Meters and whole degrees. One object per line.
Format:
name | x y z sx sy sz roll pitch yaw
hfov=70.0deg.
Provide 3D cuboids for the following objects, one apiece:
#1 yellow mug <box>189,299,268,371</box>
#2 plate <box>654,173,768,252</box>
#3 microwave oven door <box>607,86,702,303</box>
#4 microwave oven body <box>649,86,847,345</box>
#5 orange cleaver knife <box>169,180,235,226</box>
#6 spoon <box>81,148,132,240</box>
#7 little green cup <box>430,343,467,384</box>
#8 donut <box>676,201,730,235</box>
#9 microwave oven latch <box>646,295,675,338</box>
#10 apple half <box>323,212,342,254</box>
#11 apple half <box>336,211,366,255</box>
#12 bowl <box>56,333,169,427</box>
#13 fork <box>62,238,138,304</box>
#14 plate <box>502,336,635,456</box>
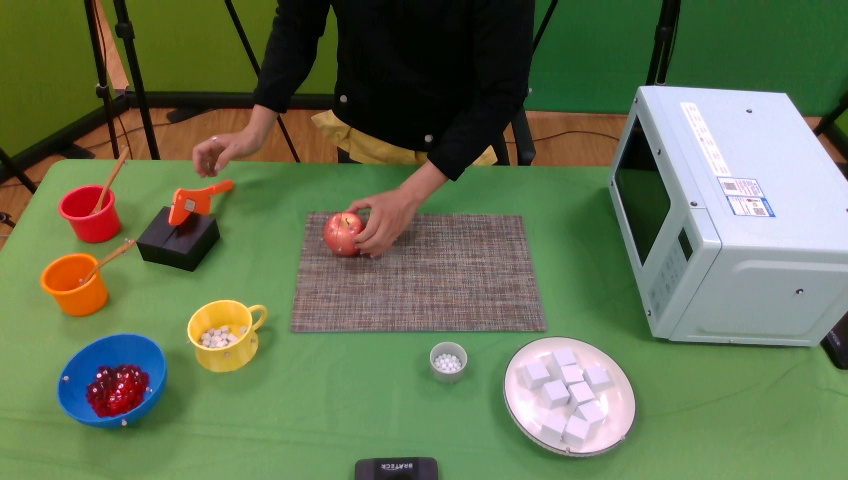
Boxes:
yellow mug | -0.316 0.148 1.002 0.131 0.064 0.099 -33 56 -31
plate | 0.555 -0.050 1.187 0.209 0.038 0.208 1 47 -1
microwave oven door | 0.423 -0.094 1.141 0.039 0.245 0.353 2 46 -1
microwave oven body | 0.568 -0.053 1.118 0.326 0.261 0.439 2 45 -1
orange cleaver knife | -0.436 -0.076 1.199 0.012 0.077 0.211 17 17 9
spoon | -0.602 -0.089 1.156 0.041 0.022 0.193 28 95 18
little green cup | 0.039 0.203 0.994 0.061 0.039 0.061 2 46 -2
donut | 0.538 -0.044 1.170 0.099 0.048 0.098 5 27 -2
microwave oven latch | 0.412 0.134 1.061 0.030 0.029 0.078 4 45 1
apple half | -0.175 -0.012 1.155 0.033 0.081 0.081 7 46 -2
apple half | -0.137 -0.010 1.157 0.053 0.075 0.080 8 42 -3
bowl | -0.456 0.223 0.911 0.151 0.077 0.150 3 46 -2
fork | -0.546 0.053 1.018 0.207 0.019 0.028 -36 41 23
plate | 0.225 0.248 0.964 0.208 0.039 0.206 2 46 -2
